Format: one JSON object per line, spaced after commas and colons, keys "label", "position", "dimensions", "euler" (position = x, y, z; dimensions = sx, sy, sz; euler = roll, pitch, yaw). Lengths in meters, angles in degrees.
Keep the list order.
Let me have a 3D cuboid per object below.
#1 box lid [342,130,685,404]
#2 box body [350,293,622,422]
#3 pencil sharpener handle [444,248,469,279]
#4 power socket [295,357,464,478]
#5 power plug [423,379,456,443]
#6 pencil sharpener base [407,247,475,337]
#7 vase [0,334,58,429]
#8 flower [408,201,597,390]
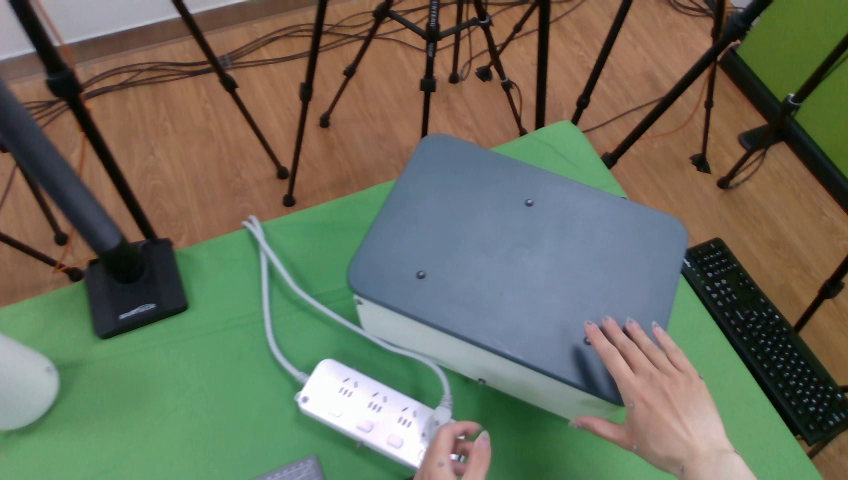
{"label": "box lid", "position": [0.116, 0.017, 0.730], "dimensions": [0.370, 0.015, 0.262], "euler": [21, 62, 8]}
{"label": "box body", "position": [0.111, 0.053, 0.794], "dimensions": [0.363, 0.161, 0.253], "euler": [21, 61, 8]}
{"label": "pencil sharpener handle", "position": [0.049, 0.026, 0.815], "dimensions": [0.036, 0.068, 0.030], "euler": [24, 61, 17]}
{"label": "power socket", "position": [-0.054, 0.221, 0.764], "dimensions": [0.226, 0.033, 0.072], "euler": [24, 61, 10]}
{"label": "power plug", "position": [0.027, 0.216, 0.745], "dimensions": [0.035, 0.053, 0.072], "euler": [33, 60, 17]}
{"label": "pencil sharpener base", "position": [0.022, 0.069, 0.802], "dimensions": [0.061, 0.108, 0.076], "euler": [27, 62, 11]}
{"label": "vase", "position": [-0.501, 0.145, 0.681], "dimensions": [0.098, 0.201, 0.097], "euler": [2, 59, -3]}
{"label": "flower", "position": [0.110, 0.077, 0.862], "dimensions": [0.044, 0.038, 0.360], "euler": [-45, 77, 1]}
